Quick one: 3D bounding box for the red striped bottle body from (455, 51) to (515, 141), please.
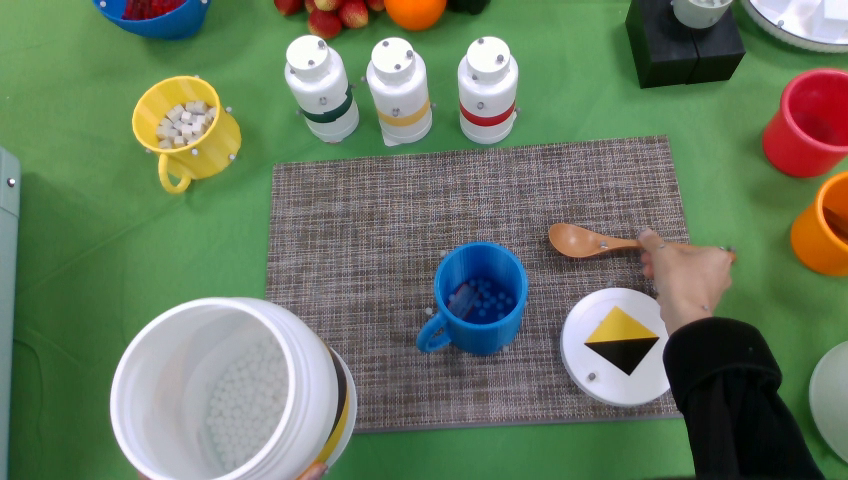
[{"bbox_3d":[0.065,-0.163,0.652,0.063,0.120,0.062,-2,68,4],"label":"red striped bottle body"}]

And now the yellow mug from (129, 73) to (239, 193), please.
[{"bbox_3d":[-0.275,-0.116,0.690,0.100,0.064,0.130,5,70,7],"label":"yellow mug"}]

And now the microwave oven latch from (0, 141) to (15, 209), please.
[{"bbox_3d":[-0.484,-0.072,0.685,0.030,0.030,0.078,-11,70,0],"label":"microwave oven latch"}]

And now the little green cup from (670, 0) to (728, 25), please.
[{"bbox_3d":[0.301,-0.268,0.661,0.061,0.039,0.061,-1,67,3],"label":"little green cup"}]

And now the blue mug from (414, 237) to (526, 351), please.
[{"bbox_3d":[0.039,0.064,0.571,0.116,0.106,0.082,-36,70,-9],"label":"blue mug"}]

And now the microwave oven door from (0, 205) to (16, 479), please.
[{"bbox_3d":[-0.450,0.091,0.512,0.039,0.245,0.353,-13,69,0],"label":"microwave oven door"}]

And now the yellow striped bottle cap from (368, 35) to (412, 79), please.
[{"bbox_3d":[-0.035,-0.185,0.611,0.044,0.019,0.044,0,66,0],"label":"yellow striped bottle cap"}]

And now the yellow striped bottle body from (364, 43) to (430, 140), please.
[{"bbox_3d":[-0.029,-0.166,0.660,0.063,0.121,0.062,-2,68,5],"label":"yellow striped bottle body"}]

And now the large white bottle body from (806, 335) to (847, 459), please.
[{"bbox_3d":[0.413,0.119,0.481,0.130,0.186,0.129,-2,68,4],"label":"large white bottle body"}]

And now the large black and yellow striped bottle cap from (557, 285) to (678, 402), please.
[{"bbox_3d":[0.189,0.100,0.594,0.115,0.019,0.114,-1,68,4],"label":"large black and yellow striped bottle cap"}]

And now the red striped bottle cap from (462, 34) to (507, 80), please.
[{"bbox_3d":[0.060,-0.183,0.602,0.044,0.018,0.044,0,68,1],"label":"red striped bottle cap"}]

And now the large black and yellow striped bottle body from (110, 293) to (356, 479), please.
[{"bbox_3d":[-0.125,0.112,0.433,0.131,0.185,0.130,0,71,1],"label":"large black and yellow striped bottle body"}]

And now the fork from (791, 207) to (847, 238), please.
[{"bbox_3d":[0.432,0.002,0.543,0.028,0.019,0.205,-31,25,-15],"label":"fork"}]

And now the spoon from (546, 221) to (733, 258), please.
[{"bbox_3d":[0.222,0.004,0.626,0.193,0.022,0.041,5,50,5],"label":"spoon"}]

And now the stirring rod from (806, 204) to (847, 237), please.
[{"bbox_3d":[0.402,0.002,0.553,0.014,0.006,0.175,-1,26,1],"label":"stirring rod"}]

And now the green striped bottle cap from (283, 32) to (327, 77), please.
[{"bbox_3d":[-0.122,-0.190,0.620,0.044,0.020,0.044,0,70,1],"label":"green striped bottle cap"}]

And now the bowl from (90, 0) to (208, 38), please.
[{"bbox_3d":[-0.330,-0.310,0.761,0.151,0.077,0.150,-1,69,4],"label":"bowl"}]

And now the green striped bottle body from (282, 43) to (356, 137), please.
[{"bbox_3d":[-0.116,-0.170,0.668,0.063,0.120,0.062,-1,69,4],"label":"green striped bottle body"}]

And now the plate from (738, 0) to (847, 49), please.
[{"bbox_3d":[0.467,-0.308,0.717,0.209,0.038,0.207,-1,70,4],"label":"plate"}]
